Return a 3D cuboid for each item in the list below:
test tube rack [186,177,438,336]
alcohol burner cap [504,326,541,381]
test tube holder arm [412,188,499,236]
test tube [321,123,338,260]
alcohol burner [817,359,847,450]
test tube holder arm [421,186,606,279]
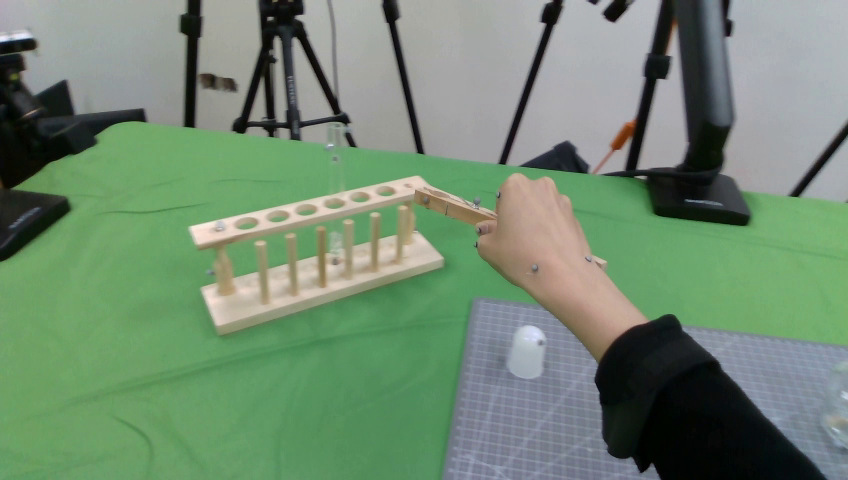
[{"bbox_3d":[-0.104,0.010,0.619,0.243,0.086,0.066,-16,38,-26],"label":"test tube rack"},{"bbox_3d":[0.089,0.098,0.539,0.034,0.048,0.033,2,35,-1],"label":"alcohol burner cap"},{"bbox_3d":[0.027,-0.024,0.507,0.087,0.015,0.010,23,32,30],"label":"test tube holder arm"},{"bbox_3d":[-0.096,-0.045,0.612,0.017,0.151,0.017,4,31,-2],"label":"test tube"},{"bbox_3d":[0.360,0.113,0.473,0.078,0.120,0.077,2,37,-1],"label":"alcohol burner"},{"bbox_3d":[0.065,-0.010,0.487,0.177,0.015,0.013,25,33,33],"label":"test tube holder arm"}]
